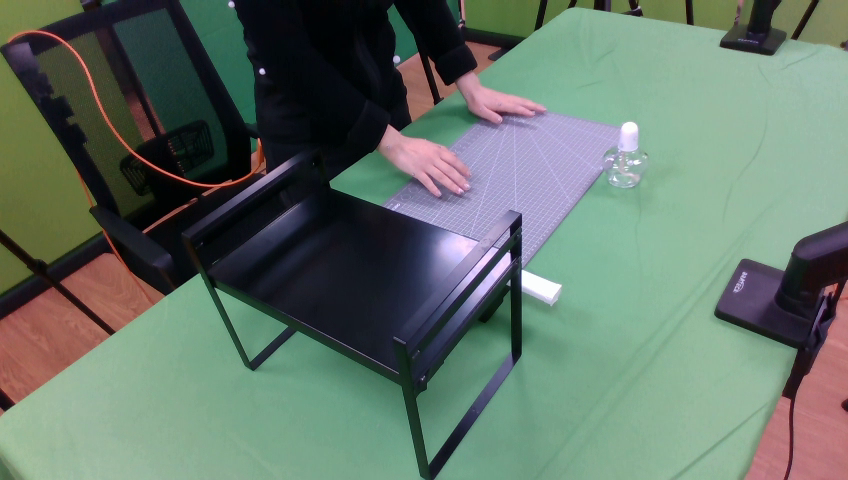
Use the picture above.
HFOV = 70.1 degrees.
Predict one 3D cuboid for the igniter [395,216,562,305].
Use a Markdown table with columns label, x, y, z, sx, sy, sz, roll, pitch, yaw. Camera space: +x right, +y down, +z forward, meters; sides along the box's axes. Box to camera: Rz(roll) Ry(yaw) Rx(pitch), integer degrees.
| label | x | y | z | sx | sy | sz | roll | pitch | yaw |
| --- | --- | --- | --- | --- | --- | --- | --- | --- | --- |
| igniter | 0.066 | 0.023 | 0.863 | 0.274 | 0.025 | 0.057 | 24 | 48 | 28 |

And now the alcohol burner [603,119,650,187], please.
| label | x | y | z | sx | sy | sz | roll | pitch | yaw |
| --- | --- | --- | --- | --- | --- | --- | --- | --- | --- |
| alcohol burner | 0.347 | -0.151 | 1.030 | 0.078 | 0.119 | 0.077 | -4 | 39 | 4 |

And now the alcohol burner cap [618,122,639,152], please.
| label | x | y | z | sx | sy | sz | roll | pitch | yaw |
| --- | --- | --- | --- | --- | --- | --- | --- | --- | --- |
| alcohol burner cap | 0.342 | -0.174 | 1.009 | 0.034 | 0.048 | 0.033 | -5 | 38 | 4 |
